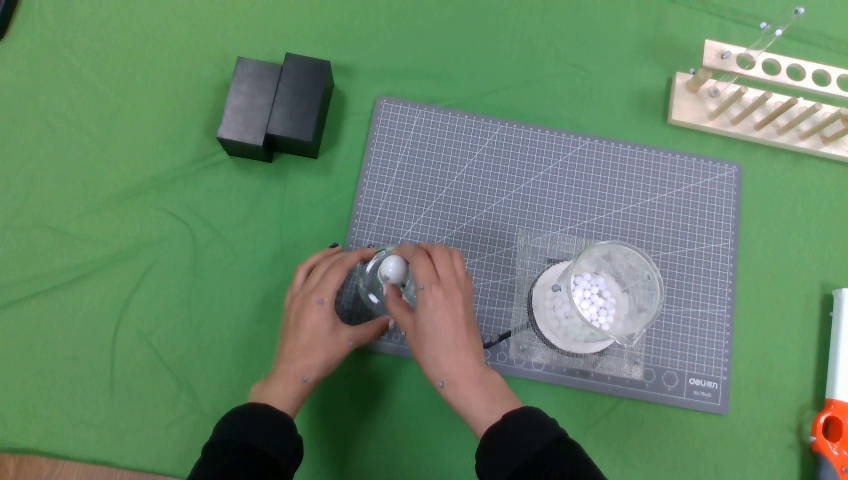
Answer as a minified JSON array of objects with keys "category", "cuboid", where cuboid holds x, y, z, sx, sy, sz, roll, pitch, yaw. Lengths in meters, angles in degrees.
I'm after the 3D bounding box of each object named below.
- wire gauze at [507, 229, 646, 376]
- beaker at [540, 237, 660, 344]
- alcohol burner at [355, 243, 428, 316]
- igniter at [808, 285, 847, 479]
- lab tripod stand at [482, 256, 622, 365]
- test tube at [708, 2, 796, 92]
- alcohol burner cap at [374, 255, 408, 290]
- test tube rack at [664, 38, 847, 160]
[{"category":"wire gauze","cuboid":[0.139,0.054,0.552,0.125,0.011,0.121,8,74,1]},{"category":"beaker","cuboid":[0.141,0.049,0.503,0.074,0.100,0.083,-12,76,-5]},{"category":"alcohol burner","cuboid":[-0.033,0.036,0.623,0.078,0.119,0.077,1,74,-3]},{"category":"igniter","cuboid":[0.452,0.184,0.666,0.057,0.025,0.275,17,76,-9]},{"category":"lab tripod stand","cuboid":[0.133,0.073,0.615,0.148,0.132,0.147,1,75,-2]},{"category":"test tube","cuboid":[0.358,-0.208,0.672,0.017,0.151,0.017,1,72,-4]},{"category":"alcohol burner cap","cuboid":[-0.031,0.030,0.589,0.034,0.048,0.033,1,81,-9]},{"category":"test tube rack","cuboid":[0.422,-0.163,0.716,0.242,0.085,0.066,12,76,0]}]
